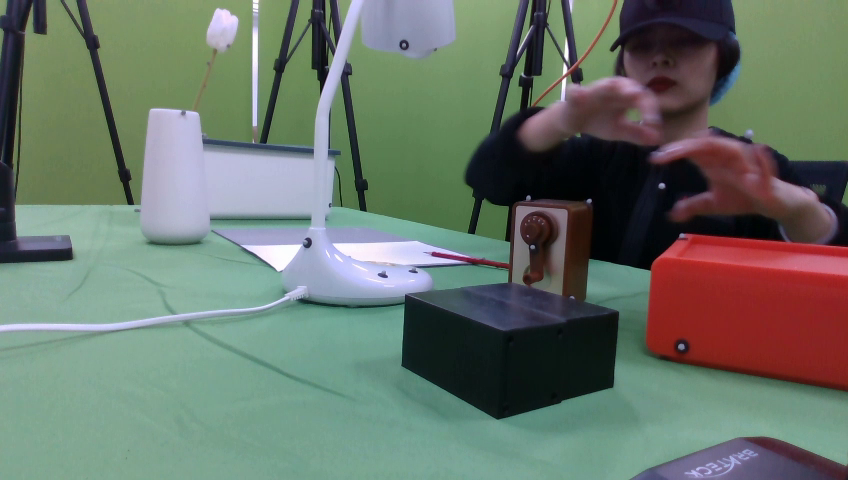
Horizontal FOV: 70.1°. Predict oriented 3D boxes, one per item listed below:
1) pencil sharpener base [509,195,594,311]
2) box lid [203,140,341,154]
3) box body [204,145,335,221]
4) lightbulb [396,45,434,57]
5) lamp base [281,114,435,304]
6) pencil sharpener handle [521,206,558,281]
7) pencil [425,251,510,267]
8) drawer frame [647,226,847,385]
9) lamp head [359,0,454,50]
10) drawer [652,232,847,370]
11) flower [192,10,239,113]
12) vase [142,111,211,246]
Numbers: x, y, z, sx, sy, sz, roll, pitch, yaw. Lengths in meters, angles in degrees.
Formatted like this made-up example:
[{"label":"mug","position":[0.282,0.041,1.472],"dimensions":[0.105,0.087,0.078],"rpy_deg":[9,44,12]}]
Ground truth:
[{"label":"pencil sharpener base","position":[0.126,0.010,0.602],"dimensions":[0.061,0.107,0.077],"rpy_deg":[7,9,31]},{"label":"box lid","position":[-0.396,-0.213,1.373],"dimensions":[0.373,0.015,0.262],"rpy_deg":[-1,9,-29]},{"label":"box body","position":[-0.411,-0.135,1.386],"dimensions":[0.366,0.160,0.253],"rpy_deg":[-2,9,-29]},{"label":"lightbulb","position":[-0.018,-0.265,0.692],"dimensions":[0.059,0.108,0.059],"rpy_deg":[-10,28,6]},{"label":"lamp base","position":[-0.071,-0.035,0.614],"dimensions":[0.160,0.180,0.180],"rpy_deg":[6,10,27]},{"label":"pencil sharpener handle","position":[0.101,0.003,0.556],"dimensions":[0.036,0.067,0.031],"rpy_deg":[0,5,32]},{"label":"pencil","position":[0.076,0.027,0.839],"dimensions":[0.193,0.012,0.012],"rpy_deg":[8,9,39]},{"label":"drawer frame","position":[0.303,0.043,0.495],"dimensions":[0.201,0.082,0.214],"rpy_deg":[6,9,26]},{"label":"lamp head","position":[-0.024,-0.283,0.674],"dimensions":[0.112,0.123,0.112],"rpy_deg":[-3,38,3]},{"label":"drawer","position":[0.304,0.043,0.498],"dimensions":[0.194,0.073,0.212],"rpy_deg":[6,9,27]},{"label":"flower","position":[-0.354,-0.174,0.915],"dimensions":[0.038,0.361,0.044],"rpy_deg":[18,-4,12]},{"label":"vase","position":[-0.378,-0.093,0.920],"dimensions":[0.098,0.200,0.098],"rpy_deg":[2,9,0]}]
